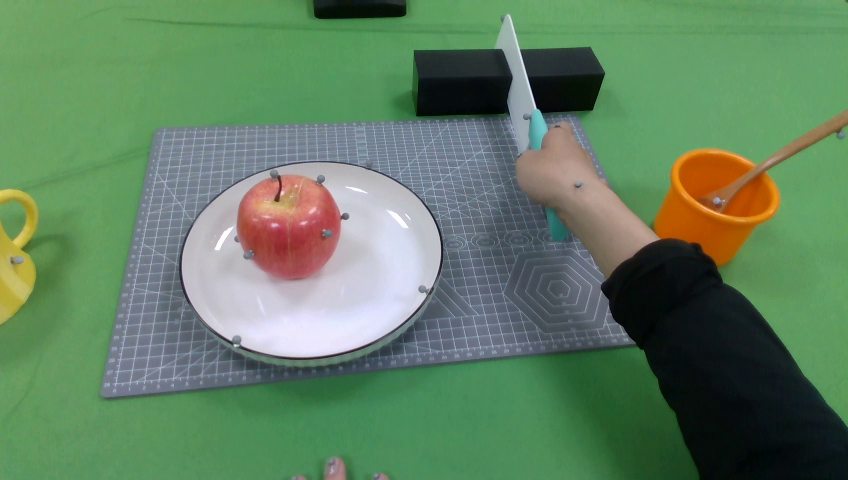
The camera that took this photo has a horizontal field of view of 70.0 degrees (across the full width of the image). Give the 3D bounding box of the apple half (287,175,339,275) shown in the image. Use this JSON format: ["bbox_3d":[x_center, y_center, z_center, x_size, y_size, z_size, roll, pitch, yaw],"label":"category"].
[{"bbox_3d":[-0.084,-0.010,0.486,0.033,0.082,0.080,2,50,4],"label":"apple half"}]

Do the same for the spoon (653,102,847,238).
[{"bbox_3d":[0.290,-0.061,0.531,0.022,0.194,0.041,30,32,-40],"label":"spoon"}]

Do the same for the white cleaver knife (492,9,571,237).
[{"bbox_3d":[0.103,-0.123,0.613,0.021,0.066,0.283,-2,58,-8],"label":"white cleaver knife"}]

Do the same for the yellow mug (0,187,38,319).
[{"bbox_3d":[-0.357,0.007,0.467,0.099,0.064,0.130,23,51,14],"label":"yellow mug"}]

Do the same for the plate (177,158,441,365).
[{"bbox_3d":[-0.091,0.015,0.500,0.209,0.038,0.207,3,50,-3],"label":"plate"}]

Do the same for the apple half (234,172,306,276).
[{"bbox_3d":[-0.123,-0.012,0.486,0.053,0.075,0.080,3,53,4],"label":"apple half"}]
